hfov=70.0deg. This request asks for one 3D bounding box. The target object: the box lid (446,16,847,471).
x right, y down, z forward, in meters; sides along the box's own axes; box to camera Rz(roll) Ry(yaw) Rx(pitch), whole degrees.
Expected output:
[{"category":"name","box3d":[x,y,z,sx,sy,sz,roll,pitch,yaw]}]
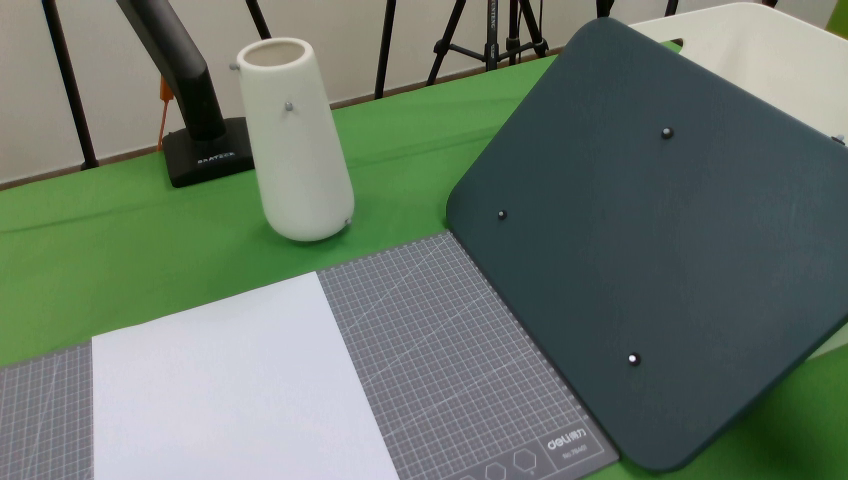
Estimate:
[{"category":"box lid","box3d":[0.170,-0.025,0.519,0.015,0.263,0.367,23,22,-41]}]

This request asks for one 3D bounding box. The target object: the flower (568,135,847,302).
[{"category":"flower","box3d":[0.303,-0.019,0.635,0.358,0.038,0.044,38,19,30]}]

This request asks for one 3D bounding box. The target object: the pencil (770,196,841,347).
[{"category":"pencil","box3d":[0.370,0.023,0.590,0.012,0.012,0.192,2,46,6]}]

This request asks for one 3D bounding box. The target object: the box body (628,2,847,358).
[{"category":"box body","box3d":[0.333,-0.081,0.596,0.254,0.162,0.359,-17,43,-15]}]

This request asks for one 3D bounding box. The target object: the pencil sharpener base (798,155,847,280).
[{"category":"pencil sharpener base","box3d":[0.410,-0.024,0.558,0.061,0.108,0.076,-17,43,-18]}]

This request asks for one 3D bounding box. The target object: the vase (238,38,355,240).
[{"category":"vase","box3d":[-0.130,-0.097,0.617,0.098,0.202,0.097,-3,41,3]}]

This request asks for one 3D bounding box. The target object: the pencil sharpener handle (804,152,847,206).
[{"category":"pencil sharpener handle","box3d":[0.391,-0.064,0.586,0.036,0.068,0.030,-25,45,-11]}]
